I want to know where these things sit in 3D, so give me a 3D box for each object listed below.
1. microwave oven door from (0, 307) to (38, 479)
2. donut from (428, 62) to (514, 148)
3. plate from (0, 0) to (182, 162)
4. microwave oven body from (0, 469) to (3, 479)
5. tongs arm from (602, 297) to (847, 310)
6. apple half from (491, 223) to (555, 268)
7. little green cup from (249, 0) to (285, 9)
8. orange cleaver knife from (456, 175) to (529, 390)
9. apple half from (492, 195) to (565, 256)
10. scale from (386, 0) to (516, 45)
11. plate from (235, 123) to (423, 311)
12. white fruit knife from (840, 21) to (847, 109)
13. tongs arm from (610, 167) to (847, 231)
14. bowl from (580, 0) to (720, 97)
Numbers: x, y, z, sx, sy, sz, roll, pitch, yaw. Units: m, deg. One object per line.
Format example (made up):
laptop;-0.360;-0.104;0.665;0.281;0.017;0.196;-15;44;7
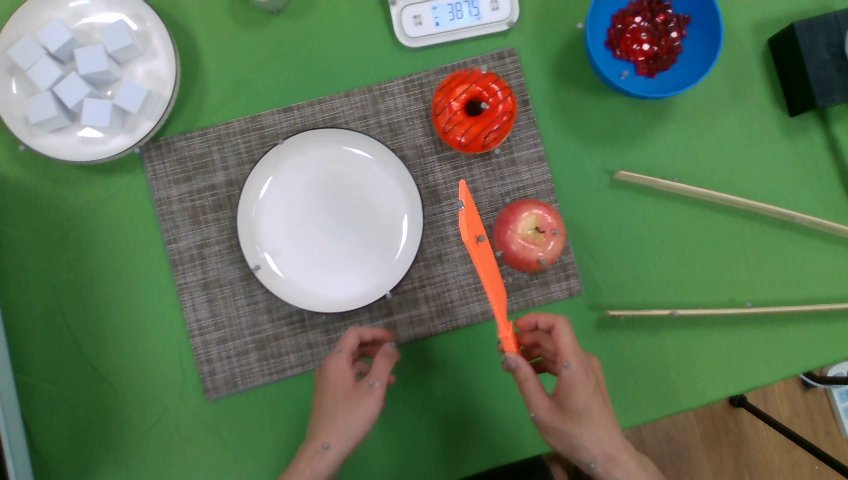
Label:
microwave oven door;-0.461;0.154;0.549;0.039;0.244;0.355;-13;88;-2
donut;0.053;-0.153;0.690;0.099;0.048;0.099;0;88;0
plate;-0.377;-0.189;0.686;0.208;0.039;0.207;0;87;-2
microwave oven body;-0.614;0.146;0.550;0.326;0.260;0.441;-13;88;-3
tongs arm;0.398;0.055;0.700;0.385;0.026;0.050;0;83;-2
apple half;0.103;0.013;0.669;0.081;0.081;0.033;29;83;0
little green cup;-0.184;-0.298;0.696;0.061;0.038;0.061;0;87;-1
orange cleaver knife;0.063;0.043;0.544;0.012;0.076;0.213;-12;120;18
apple half;0.121;-0.021;0.673;0.081;0.075;0.053;28;83;4
scale;0.020;-0.339;0.707;0.149;0.031;0.200;-11;88;-2
plate;-0.104;-0.026;0.684;0.209;0.038;0.209;0;88;-1
white fruit knife;0.493;-0.144;0.689;0.016;0.027;0.208;-18;103;-2
tongs arm;0.406;-0.031;0.708;0.388;0.028;0.028;15;79;-1
bowl;0.243;-0.228;0.686;0.151;0.077;0.151;0;88;-2
